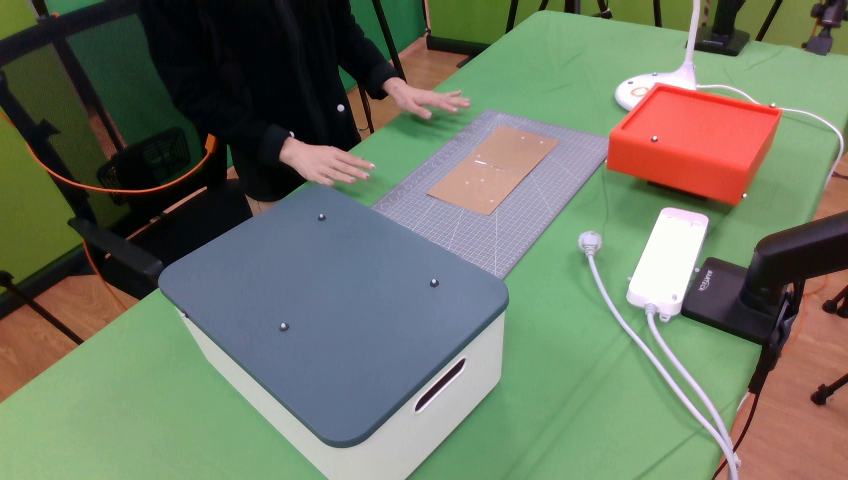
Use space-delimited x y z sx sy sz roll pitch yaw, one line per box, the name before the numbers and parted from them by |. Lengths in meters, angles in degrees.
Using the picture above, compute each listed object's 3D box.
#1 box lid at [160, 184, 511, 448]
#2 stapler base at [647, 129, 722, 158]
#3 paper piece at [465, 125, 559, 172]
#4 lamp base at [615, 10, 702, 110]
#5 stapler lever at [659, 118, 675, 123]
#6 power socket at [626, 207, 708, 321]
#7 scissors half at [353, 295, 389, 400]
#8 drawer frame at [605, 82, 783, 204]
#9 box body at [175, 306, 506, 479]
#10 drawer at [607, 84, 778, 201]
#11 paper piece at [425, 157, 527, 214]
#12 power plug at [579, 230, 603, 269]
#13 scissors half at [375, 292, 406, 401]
box lid | -0.114 0.054 0.705 0.368 0.015 0.264 29 51 34
stapler base | 0.439 -0.167 1.023 0.131 0.024 0.041 -17 24 -15
paper piece | 0.171 -0.177 1.168 0.137 0.009 0.136 21 44 31
lamp base | 0.484 -0.364 1.211 0.180 0.181 0.159 -15 41 -14
stapler lever | 0.436 -0.193 1.014 0.118 0.040 0.026 -15 24 -16
power socket | 0.360 0.026 0.886 0.072 0.033 0.227 16 46 26
scissors half | -0.068 0.142 0.818 0.040 0.013 0.174 -19 44 -1
drawer frame | 0.441 -0.167 0.995 0.212 0.083 0.202 23 48 30
box body | -0.105 0.111 0.751 0.361 0.161 0.255 28 52 35
drawer | 0.438 -0.167 0.995 0.210 0.073 0.195 23 48 30
paper piece | 0.095 -0.103 1.089 0.134 0.004 0.136 22 48 30
power plug | 0.246 0.018 0.909 0.035 0.053 0.072 16 65 21
scissors half | -0.048 0.139 0.817 0.040 0.013 0.174 -3 45 7
